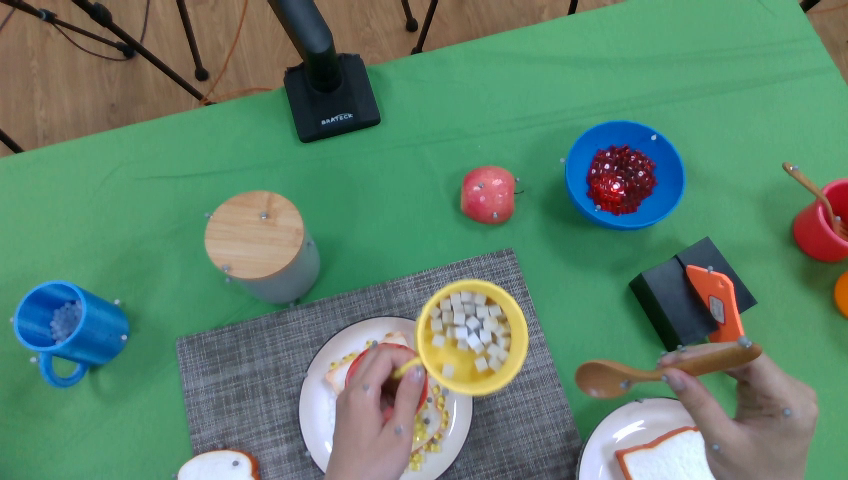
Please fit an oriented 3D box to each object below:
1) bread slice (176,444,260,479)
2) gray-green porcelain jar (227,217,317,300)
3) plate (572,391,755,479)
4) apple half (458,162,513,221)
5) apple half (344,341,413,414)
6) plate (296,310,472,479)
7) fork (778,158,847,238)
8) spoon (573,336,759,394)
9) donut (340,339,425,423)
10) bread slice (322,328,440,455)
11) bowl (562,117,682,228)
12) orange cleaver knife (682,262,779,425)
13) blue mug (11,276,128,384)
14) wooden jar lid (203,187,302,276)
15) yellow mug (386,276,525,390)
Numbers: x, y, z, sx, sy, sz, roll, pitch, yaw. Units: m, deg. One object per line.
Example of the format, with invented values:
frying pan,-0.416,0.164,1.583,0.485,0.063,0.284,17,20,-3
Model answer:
bread slice,-0.241,0.305,0.699,0.105,0.019,0.130,-8,73,-4
gray-green porcelain jar,-0.190,0.013,0.744,0.106,0.127,0.105,0,70,0
plate,0.272,0.283,0.700,0.209,0.038,0.207,0,71,1
apple half,0.083,-0.071,0.812,0.074,0.054,0.080,5,71,5
apple half,-0.051,0.152,0.672,0.081,0.033,0.081,-2,71,6
plate,-0.047,0.189,0.727,0.208,0.039,0.206,0,71,0
fork,0.491,-0.050,0.755,0.209,0.018,0.028,29,67,-34
spoon,0.168,0.094,0.443,0.041,0.194,0.021,41,67,-1
donut,-0.047,0.164,0.706,0.099,0.048,0.098,0,72,0
bread slice,-0.043,0.186,0.729,0.107,0.018,0.133,-31,73,-10
bowl,0.251,-0.077,0.800,0.151,0.077,0.150,0,72,0
orange cleaver knife,0.367,0.122,0.731,0.012,0.077,0.211,-25,95,-15
blue mug,-0.421,0.112,0.720,0.082,0.106,0.116,5,71,2
wooden jar lid,-0.191,-0.008,0.683,0.108,0.021,0.107,1,69,-1
yellow mug,0.024,0.092,0.560,0.131,0.064,0.099,-26,84,-6
